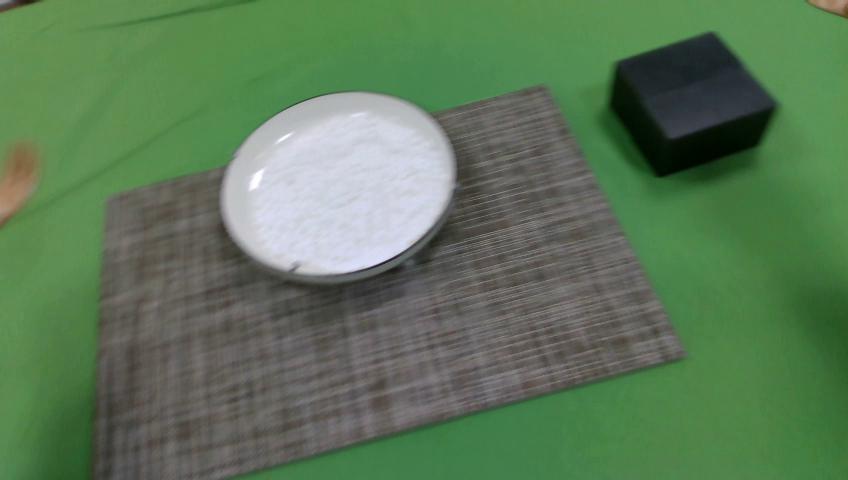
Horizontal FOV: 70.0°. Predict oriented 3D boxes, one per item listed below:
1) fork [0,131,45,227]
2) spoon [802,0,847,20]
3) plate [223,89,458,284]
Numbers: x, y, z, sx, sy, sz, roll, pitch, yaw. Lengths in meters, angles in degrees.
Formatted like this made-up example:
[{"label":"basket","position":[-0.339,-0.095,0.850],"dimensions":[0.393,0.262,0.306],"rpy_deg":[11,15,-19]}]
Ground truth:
[{"label":"fork","position":[-0.320,0.018,0.424],"dimensions":[0.028,0.019,0.207],"rpy_deg":[27,85,5]},{"label":"spoon","position":[0.292,-0.119,0.374],"dimensions":[0.194,0.021,0.041],"rpy_deg":[38,92,-10]},{"label":"plate","position":[-0.073,-0.049,0.542],"dimensions":[0.209,0.038,0.207],"rpy_deg":[-3,58,6]}]
